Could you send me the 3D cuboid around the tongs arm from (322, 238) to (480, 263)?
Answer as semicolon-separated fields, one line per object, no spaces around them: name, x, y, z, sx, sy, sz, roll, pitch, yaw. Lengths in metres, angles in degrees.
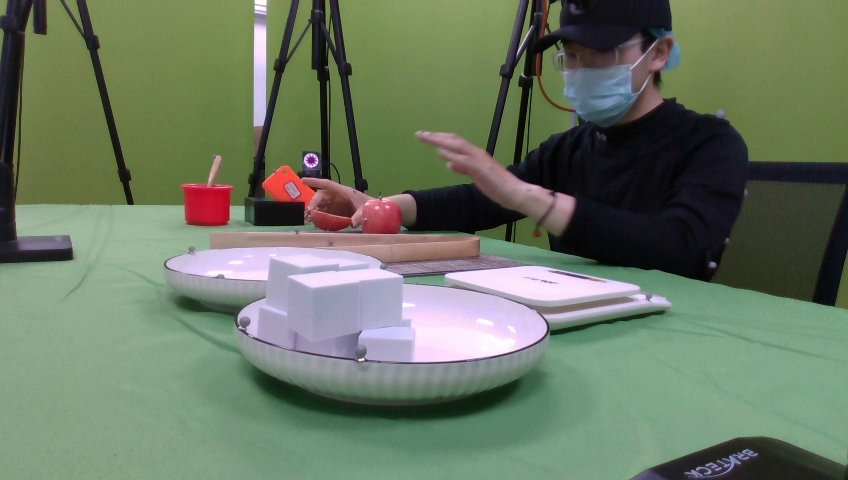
tongs arm;-0.070;0.017;0.800;0.390;0.028;0.028;-2;4;-34

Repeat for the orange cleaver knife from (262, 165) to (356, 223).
orange cleaver knife;-0.243;-0.081;1.292;0.212;0.077;0.012;34;-8;-26

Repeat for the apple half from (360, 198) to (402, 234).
apple half;-0.066;-0.032;1.014;0.053;0.074;0.081;9;6;21

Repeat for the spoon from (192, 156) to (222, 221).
spoon;-0.430;-0.108;1.222;0.041;0.021;0.193;-1;52;0

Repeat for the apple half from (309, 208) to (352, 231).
apple half;-0.162;-0.031;1.033;0.081;0.033;0.081;15;-1;1

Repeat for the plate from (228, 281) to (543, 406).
plate;-0.025;0.067;0.413;0.208;0.039;0.207;3;7;0

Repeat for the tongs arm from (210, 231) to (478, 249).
tongs arm;-0.106;0.004;0.876;0.386;0.026;0.050;0;7;-20

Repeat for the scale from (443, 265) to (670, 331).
scale;0.131;0.052;0.603;0.202;0.031;0.148;-2;9;-37

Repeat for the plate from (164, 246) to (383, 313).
plate;-0.145;0.038;0.600;0.209;0.038;0.209;2;7;0
